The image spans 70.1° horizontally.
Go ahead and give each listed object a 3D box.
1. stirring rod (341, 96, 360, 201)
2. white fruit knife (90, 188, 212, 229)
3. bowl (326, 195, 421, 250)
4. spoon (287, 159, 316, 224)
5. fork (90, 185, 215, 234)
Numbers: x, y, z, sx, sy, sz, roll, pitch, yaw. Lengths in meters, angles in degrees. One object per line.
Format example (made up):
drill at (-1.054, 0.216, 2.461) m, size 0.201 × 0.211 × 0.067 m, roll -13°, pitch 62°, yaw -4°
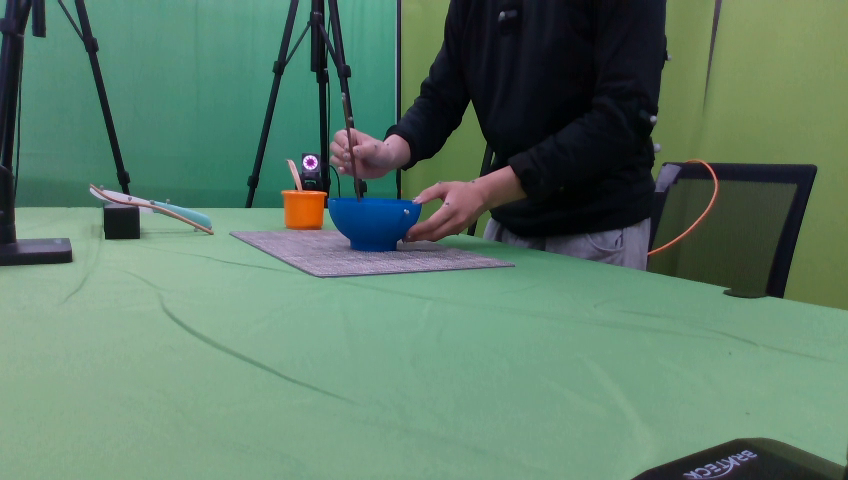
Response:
stirring rod at (-0.115, -0.137, 0.953) m, size 0.006 × 0.176 × 0.014 m, roll -8°, pitch 18°, yaw -2°
white fruit knife at (-0.478, -0.058, 1.073) m, size 0.208 × 0.027 × 0.016 m, roll 17°, pitch -4°, yaw -30°
bowl at (-0.080, -0.027, 0.958) m, size 0.151 × 0.077 × 0.151 m, roll 2°, pitch 7°, yaw 0°
spoon at (-0.261, -0.104, 1.264) m, size 0.042 × 0.193 × 0.021 m, roll -1°, pitch -37°, yaw -28°
fork at (-0.452, -0.049, 1.018) m, size 0.208 × 0.018 × 0.028 m, roll 21°, pitch -7°, yaw -33°
